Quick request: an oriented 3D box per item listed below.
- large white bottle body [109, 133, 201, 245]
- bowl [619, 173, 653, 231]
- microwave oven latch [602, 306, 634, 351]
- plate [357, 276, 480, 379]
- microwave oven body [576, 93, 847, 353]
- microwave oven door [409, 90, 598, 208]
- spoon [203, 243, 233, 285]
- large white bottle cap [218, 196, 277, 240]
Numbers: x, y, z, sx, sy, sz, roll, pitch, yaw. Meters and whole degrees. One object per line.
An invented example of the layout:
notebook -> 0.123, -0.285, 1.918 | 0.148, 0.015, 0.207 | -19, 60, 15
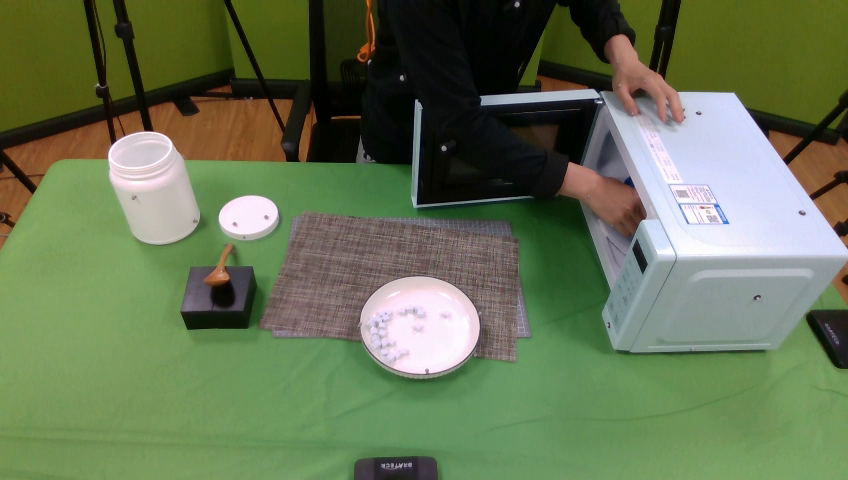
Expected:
large white bottle body -> -0.505, -0.096, 1.141 | 0.131, 0.185, 0.130 | 1, 45, -1
bowl -> 0.441, -0.055, 1.162 | 0.151, 0.077, 0.150 | 1, 47, -1
microwave oven latch -> 0.332, 0.153, 1.044 | 0.030, 0.029, 0.078 | 0, 45, -4
plate -> -0.010, 0.151, 1.038 | 0.209, 0.038, 0.208 | 2, 47, -2
microwave oven body -> 0.475, -0.041, 1.109 | 0.326, 0.261, 0.438 | -1, 45, -4
microwave oven door -> 0.152, -0.179, 1.212 | 0.356, 0.245, 0.039 | -6, 46, -10
spoon -> -0.360, 0.039, 1.087 | 0.041, 0.022, 0.192 | -5, 24, -7
large white bottle cap -> -0.354, -0.045, 1.220 | 0.115, 0.018, 0.114 | 2, 45, -1
